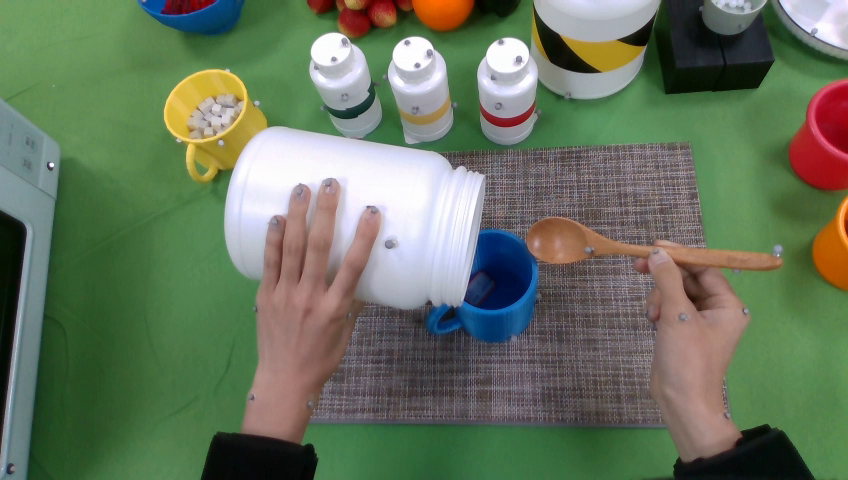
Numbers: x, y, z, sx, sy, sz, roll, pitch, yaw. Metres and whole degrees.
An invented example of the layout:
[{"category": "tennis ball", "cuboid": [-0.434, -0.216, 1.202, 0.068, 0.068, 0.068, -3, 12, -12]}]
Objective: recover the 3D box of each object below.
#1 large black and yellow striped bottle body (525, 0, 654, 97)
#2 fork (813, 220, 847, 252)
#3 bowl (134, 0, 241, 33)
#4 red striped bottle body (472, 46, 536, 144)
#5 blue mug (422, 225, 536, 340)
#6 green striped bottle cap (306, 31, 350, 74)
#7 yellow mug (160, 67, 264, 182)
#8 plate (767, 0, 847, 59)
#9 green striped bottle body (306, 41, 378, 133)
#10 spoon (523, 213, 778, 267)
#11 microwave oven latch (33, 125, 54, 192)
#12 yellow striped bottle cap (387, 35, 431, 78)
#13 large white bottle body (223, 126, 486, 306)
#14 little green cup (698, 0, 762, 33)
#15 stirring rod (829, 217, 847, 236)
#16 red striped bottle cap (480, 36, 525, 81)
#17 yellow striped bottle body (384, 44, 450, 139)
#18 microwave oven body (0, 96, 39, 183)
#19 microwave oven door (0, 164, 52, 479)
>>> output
[{"category": "large black and yellow striped bottle body", "cuboid": [0.176, -0.256, 0.645, 0.130, 0.185, 0.130, -3, 68, 7]}, {"category": "fork", "cuboid": [0.437, 0.018, 0.523, 0.028, 0.019, 0.205, -38, 25, -7]}, {"category": "bowl", "cuboid": [-0.294, -0.326, 0.790, 0.151, 0.077, 0.150, -2, 69, 6]}, {"category": "red striped bottle body", "cuboid": [0.087, -0.161, 0.655, 0.063, 0.121, 0.062, -5, 64, 11]}, {"category": "blue mug", "cuboid": [0.049, 0.053, 0.579, 0.116, 0.107, 0.081, -32, 67, -5]}, {"category": "green striped bottle cap", "cuboid": [-0.101, -0.197, 0.635, 0.044, 0.020, 0.044, -2, 68, 5]}, {"category": "yellow mug", "cuboid": [-0.253, -0.130, 0.714, 0.100, 0.064, 0.130, 8, 71, 10]}, {"category": "plate", "cuboid": [0.497, -0.289, 0.696, 0.209, 0.038, 0.207, -2, 69, 6]}, {"category": "green striped bottle body", "cuboid": [-0.093, -0.177, 0.683, 0.063, 0.120, 0.062, -2, 68, 6]}, {"category": "spoon", "cuboid": [0.165, 0.005, 0.472, 0.192, 0.022, 0.042, 9, 102, 40]}, {"category": "microwave oven latch", "cuboid": [-0.463, -0.096, 0.722, 0.030, 0.030, 0.078, -8, 69, 4]}, {"category": "yellow striped bottle cap", "cuboid": [-0.015, -0.188, 0.621, 0.044, 0.019, 0.044, -1, 65, 2]}, {"category": "large white bottle body", "cuboid": [-0.049, -0.018, 0.493, 0.184, 0.131, 0.130, 9, 70, 9]}, {"category": "little green cup", "cuboid": [0.326, -0.256, 0.649, 0.061, 0.039, 0.061, -2, 66, 4]}, {"category": "stirring rod", "cuboid": [0.408, 0.017, 0.535, 0.014, 0.006, 0.175, 1, 26, 5]}, {"category": "red striped bottle cap", "cuboid": [0.079, -0.182, 0.606, 0.044, 0.018, 0.044, -1, 67, 3]}, {"category": "yellow striped bottle body", "cuboid": [-0.007, -0.169, 0.669, 0.063, 0.121, 0.062, -3, 68, 7]}, {"category": "microwave oven body", "cuboid": [-0.597, 0.056, 0.576, 0.326, 0.262, 0.438, -10, 68, 3]}, {"category": "microwave oven door", "cuboid": [-0.448, 0.068, 0.547, 0.039, 0.246, 0.353, -10, 68, 4]}]
